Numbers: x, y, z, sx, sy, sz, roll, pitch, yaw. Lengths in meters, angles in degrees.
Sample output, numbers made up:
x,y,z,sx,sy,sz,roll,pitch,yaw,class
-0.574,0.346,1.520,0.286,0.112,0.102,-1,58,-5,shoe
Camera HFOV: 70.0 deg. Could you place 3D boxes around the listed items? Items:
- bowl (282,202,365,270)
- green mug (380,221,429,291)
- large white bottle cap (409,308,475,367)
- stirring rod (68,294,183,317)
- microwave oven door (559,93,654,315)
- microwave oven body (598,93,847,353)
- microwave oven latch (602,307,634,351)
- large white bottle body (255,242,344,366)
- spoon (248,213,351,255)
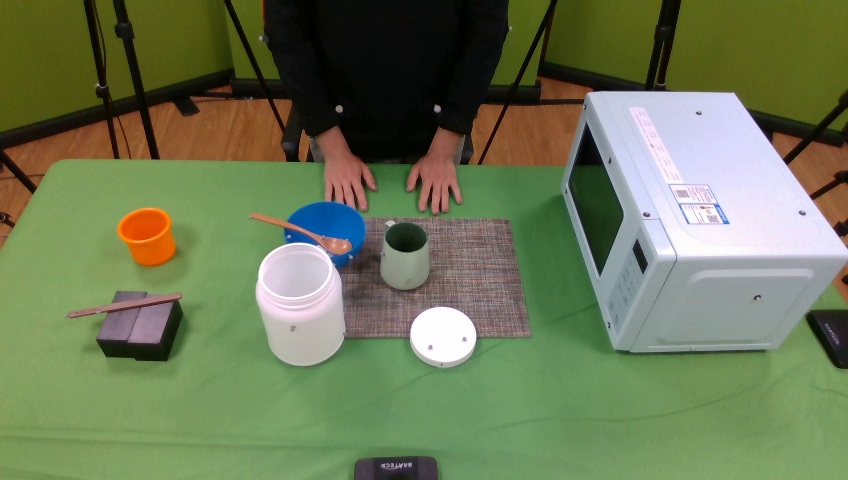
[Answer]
x,y,z,sx,sy,sz,roll,pitch,yaw,class
-0.185,0.006,1.136,0.151,0.077,0.150,3,46,-3,bowl
-0.043,0.020,1.116,0.092,0.105,0.124,-20,50,-21,green mug
0.031,0.165,1.041,0.115,0.018,0.114,2,47,-2,large white bottle cap
-0.491,0.108,1.001,0.176,0.006,0.014,-8,41,-15,stirring rod
0.327,-0.074,1.123,0.039,0.245,0.353,-1,46,-5,microwave oven door
0.475,-0.041,1.110,0.326,0.261,0.438,-1,45,-4,microwave oven body
0.332,0.153,1.044,0.030,0.029,0.078,-1,45,-4,microwave oven latch
-0.196,0.102,0.967,0.131,0.185,0.130,2,49,-2,large white bottle body
-0.228,-0.014,1.113,0.194,0.022,0.041,23,40,-15,spoon
